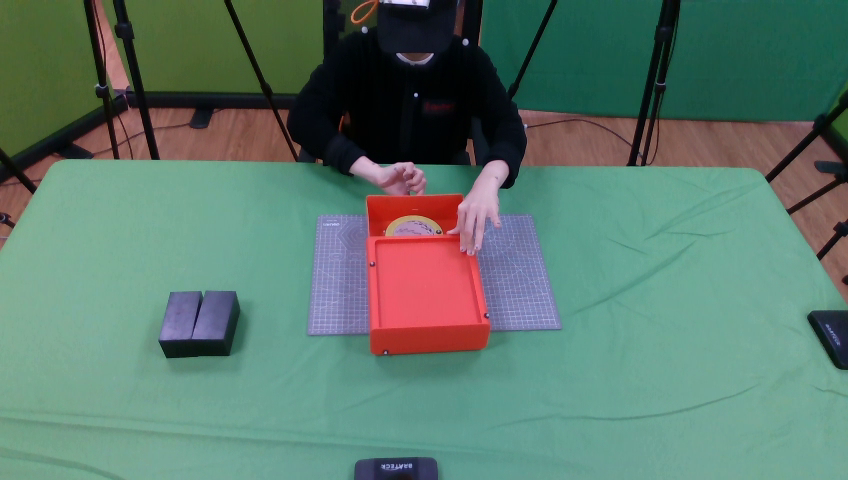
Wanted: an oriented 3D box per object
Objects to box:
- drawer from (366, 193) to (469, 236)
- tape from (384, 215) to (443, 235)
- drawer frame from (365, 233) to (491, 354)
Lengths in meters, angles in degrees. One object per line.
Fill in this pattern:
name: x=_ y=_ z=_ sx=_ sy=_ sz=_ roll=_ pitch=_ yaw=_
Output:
drawer: x=-0.011 y=0.007 z=1.148 sx=0.195 sy=0.073 sz=0.210 roll=-1 pitch=46 yaw=-6
tape: x=-0.019 y=0.008 z=1.154 sx=0.117 sy=0.053 sz=0.116 roll=2 pitch=46 yaw=-1
drawer frame: x=0.000 y=0.088 z=1.066 sx=0.202 sy=0.083 sz=0.212 roll=-2 pitch=47 yaw=-7
